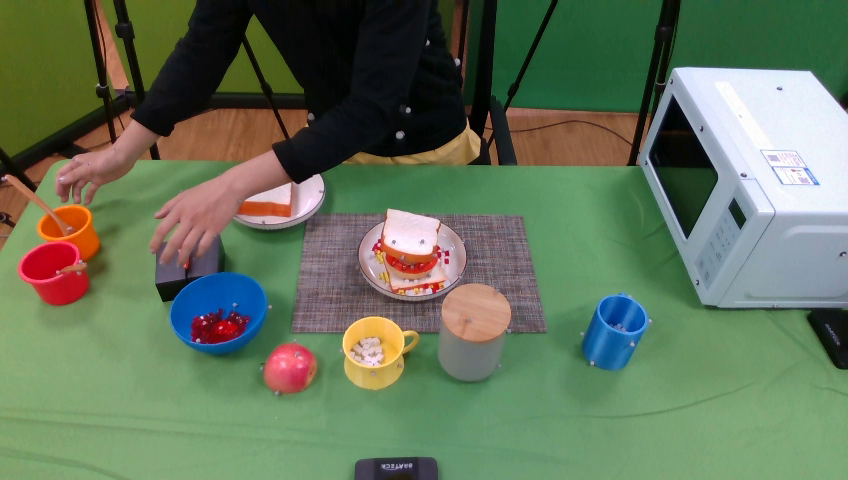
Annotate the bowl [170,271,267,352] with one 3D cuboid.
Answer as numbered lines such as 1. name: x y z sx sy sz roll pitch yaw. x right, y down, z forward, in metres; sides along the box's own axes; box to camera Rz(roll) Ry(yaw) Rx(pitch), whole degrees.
1. bowl: -0.333 0.132 1.006 0.151 0.077 0.150 2 46 -2

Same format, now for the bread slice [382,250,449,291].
1. bread slice: -0.027 0.038 1.139 0.107 0.018 0.133 -12 46 -16

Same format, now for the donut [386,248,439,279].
1. donut: -0.021 0.029 1.110 0.099 0.048 0.098 2 47 -1

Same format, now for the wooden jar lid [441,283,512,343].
1. wooden jar lid: 0.080 0.114 0.931 0.108 0.021 0.107 1 49 -1

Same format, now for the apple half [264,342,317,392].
1. apple half: -0.214 0.198 0.970 0.074 0.053 0.080 19 48 11

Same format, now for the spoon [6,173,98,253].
1. spoon: -0.678 -0.050 1.106 0.021 0.194 0.041 -19 27 44

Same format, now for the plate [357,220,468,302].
1. plate: -0.022 0.037 1.141 0.208 0.039 0.206 2 46 -2

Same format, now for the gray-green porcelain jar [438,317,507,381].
1. gray-green porcelain jar: 0.076 0.158 0.977 0.106 0.127 0.105 2 46 -2

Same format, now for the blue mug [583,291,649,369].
1. blue mug: 0.324 0.142 1.023 0.082 0.106 0.116 15 47 11

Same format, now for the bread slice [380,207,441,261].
1. bread slice: -0.023 -0.010 1.062 0.105 0.019 0.131 12 35 -3

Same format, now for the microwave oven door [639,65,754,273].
1. microwave oven door: 0.522 -0.147 1.192 0.039 0.245 0.353 0 47 -3

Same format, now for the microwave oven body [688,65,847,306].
1. microwave oven body: 0.669 -0.111 1.176 0.326 0.261 0.439 0 46 -3

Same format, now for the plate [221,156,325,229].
1. plate: -0.308 -0.095 1.251 0.209 0.038 0.208 3 46 -2

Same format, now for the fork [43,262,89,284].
1. fork: -0.599 0.053 1.013 0.207 0.019 0.028 -14 30 45

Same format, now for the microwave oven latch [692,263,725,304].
1. microwave oven latch: 0.522 0.081 1.115 0.030 0.029 0.078 1 46 -2

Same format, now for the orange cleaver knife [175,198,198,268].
1. orange cleaver knife: -0.438 -0.017 1.138 0.012 0.077 0.210 -14 27 -6

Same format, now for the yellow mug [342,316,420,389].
1. yellow mug: -0.067 0.178 0.990 0.131 0.064 0.099 -16 49 -19
